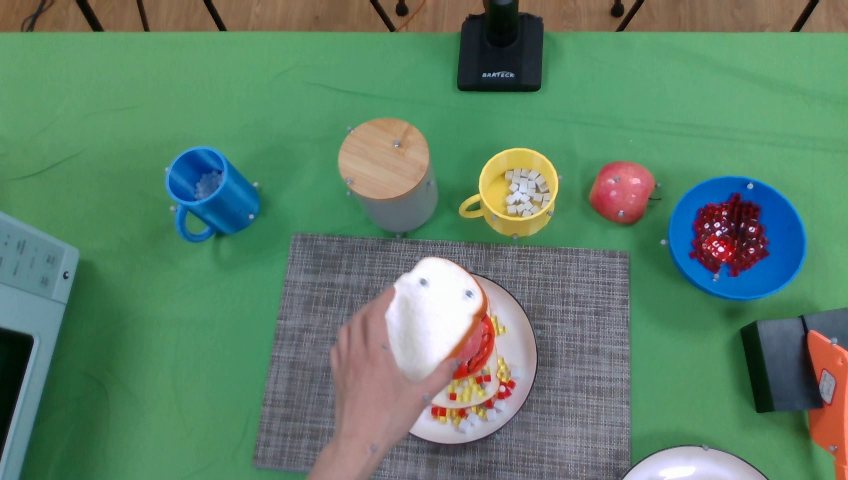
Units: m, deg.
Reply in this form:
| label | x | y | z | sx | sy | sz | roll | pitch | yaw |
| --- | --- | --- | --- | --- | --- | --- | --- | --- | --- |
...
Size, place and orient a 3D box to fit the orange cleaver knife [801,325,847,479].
| label | x | y | z | sx | sy | sz | roll | pitch | yaw |
| --- | --- | --- | --- | --- | --- | --- | --- | --- | --- |
| orange cleaver knife | 0.436 | 0.199 | 0.655 | 0.012 | 0.077 | 0.211 | -7 | 93 | -2 |

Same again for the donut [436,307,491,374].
| label | x | y | z | sx | sy | sz | roll | pitch | yaw |
| --- | --- | --- | --- | --- | --- | --- | --- | --- | --- |
| donut | 0.031 | 0.110 | 0.720 | 0.099 | 0.048 | 0.098 | -2 | 72 | 7 |

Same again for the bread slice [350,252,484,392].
| label | x | y | z | sx | sy | sz | roll | pitch | yaw |
| --- | --- | --- | --- | --- | --- | --- | --- | --- | --- |
| bread slice | -0.004 | 0.075 | 0.637 | 0.104 | 0.019 | 0.131 | 37 | 86 | 22 |

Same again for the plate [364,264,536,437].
| label | x | y | z | sx | sy | sz | roll | pitch | yaw |
| --- | --- | --- | --- | --- | --- | --- | --- | --- | --- |
| plate | 0.032 | 0.133 | 0.742 | 0.207 | 0.039 | 0.206 | -2 | 73 | 6 |

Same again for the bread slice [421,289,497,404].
| label | x | y | z | sx | sy | sz | roll | pitch | yaw |
| --- | --- | --- | --- | --- | --- | --- | --- | --- | --- |
| bread slice | 0.037 | 0.132 | 0.743 | 0.107 | 0.018 | 0.133 | -13 | 72 | 3 |

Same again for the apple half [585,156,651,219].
| label | x | y | z | sx | sy | sz | roll | pitch | yaw |
| --- | --- | --- | --- | --- | --- | --- | --- | --- | --- |
| apple half | 0.251 | -0.074 | 0.778 | 0.074 | 0.054 | 0.080 | 25 | 77 | 16 |

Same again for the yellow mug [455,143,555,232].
| label | x | y | z | sx | sy | sz | roll | pitch | yaw |
| --- | --- | --- | --- | --- | --- | --- | --- | --- | --- |
| yellow mug | 0.102 | -0.061 | 0.785 | 0.131 | 0.064 | 0.099 | -18 | 71 | 2 |

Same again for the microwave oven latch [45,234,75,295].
| label | x | y | z | sx | sy | sz | roll | pitch | yaw |
| --- | --- | --- | --- | --- | --- | --- | --- | --- | --- |
| microwave oven latch | -0.499 | 0.033 | 0.819 | 0.030 | 0.030 | 0.079 | 6 | 74 | 8 |

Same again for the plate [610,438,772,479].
| label | x | y | z | sx | sy | sz | roll | pitch | yaw |
| --- | --- | --- | --- | --- | --- | --- | --- | --- | --- |
| plate | 0.292 | 0.322 | 0.655 | 0.209 | 0.038 | 0.208 | -2 | 72 | 7 |

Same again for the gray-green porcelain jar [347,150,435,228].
| label | x | y | z | sx | sy | sz | roll | pitch | yaw |
| --- | --- | --- | --- | --- | --- | --- | --- | --- | --- |
| gray-green porcelain jar | -0.042 | -0.079 | 0.775 | 0.106 | 0.127 | 0.105 | -2 | 72 | 6 |

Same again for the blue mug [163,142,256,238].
| label | x | y | z | sx | sy | sz | roll | pitch | yaw |
| --- | --- | --- | --- | --- | --- | --- | --- | --- | --- |
| blue mug | -0.291 | -0.056 | 0.807 | 0.082 | 0.106 | 0.116 | 24 | 77 | 13 |

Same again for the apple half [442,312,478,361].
| label | x | y | z | sx | sy | sz | roll | pitch | yaw |
| --- | --- | --- | --- | --- | --- | --- | --- | --- | --- |
| apple half | 0.024 | 0.097 | 0.686 | 0.081 | 0.033 | 0.080 | -4 | 68 | 10 |

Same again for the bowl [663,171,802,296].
| label | x | y | z | sx | sy | sz | roll | pitch | yaw |
| --- | --- | --- | --- | --- | --- | --- | --- | --- | --- |
| bowl | 0.357 | 0.001 | 0.728 | 0.151 | 0.077 | 0.150 | -2 | 72 | 7 |

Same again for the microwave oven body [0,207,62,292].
| label | x | y | z | sx | sy | sz | roll | pitch | yaw |
| --- | --- | --- | --- | --- | --- | --- | --- | --- | --- |
| microwave oven body | -0.674 | 0.162 | 0.696 | 0.325 | 0.262 | 0.439 | 3 | 73 | 8 |

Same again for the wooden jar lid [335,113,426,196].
| label | x | y | z | sx | sy | sz | roll | pitch | yaw |
| --- | --- | --- | --- | --- | --- | --- | --- | --- | --- |
| wooden jar lid | -0.050 | -0.099 | 0.715 | 0.108 | 0.021 | 0.107 | -1 | 71 | 4 |

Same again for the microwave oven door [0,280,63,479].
| label | x | y | z | sx | sy | sz | roll | pitch | yaw |
| --- | --- | --- | --- | --- | --- | --- | --- | --- | --- |
| microwave oven door | -0.535 | 0.209 | 0.660 | 0.039 | 0.245 | 0.353 | 3 | 73 | 8 |
